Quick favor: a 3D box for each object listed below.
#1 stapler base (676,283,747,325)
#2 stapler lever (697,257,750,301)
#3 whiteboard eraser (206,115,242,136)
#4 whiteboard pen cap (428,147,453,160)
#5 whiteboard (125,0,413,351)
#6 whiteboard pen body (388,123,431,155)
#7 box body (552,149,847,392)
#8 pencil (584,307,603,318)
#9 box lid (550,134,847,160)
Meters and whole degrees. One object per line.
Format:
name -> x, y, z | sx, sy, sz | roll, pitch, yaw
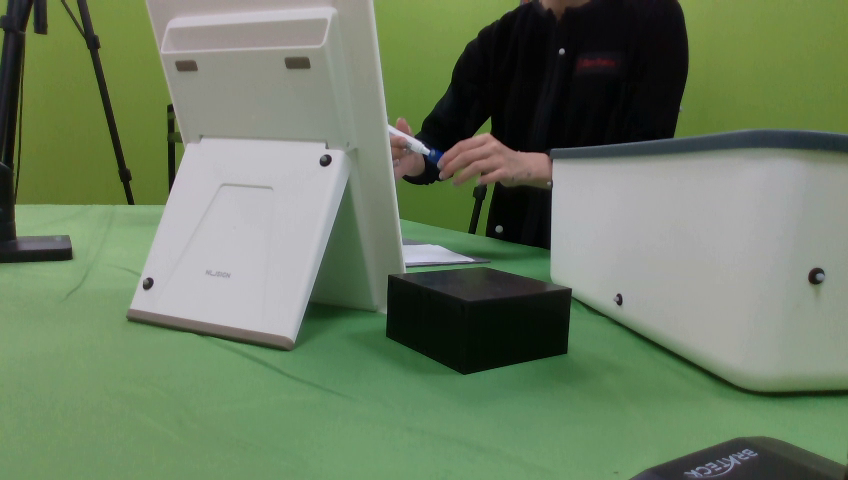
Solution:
stapler base -> 0.283, 0.057, 0.585 | 0.041, 0.024, 0.131 | 29, 17, 34
stapler lever -> 0.290, 0.035, 0.580 | 0.026, 0.040, 0.119 | 29, 19, 34
whiteboard eraser -> -0.438, -0.249, 1.320 | 0.056, 0.042, 0.112 | -3, 9, -30
whiteboard pen cap -> 0.023, -0.118, 0.815 | 0.033, 0.018, 0.018 | 3, 8, 2
whiteboard -> -0.151, -0.050, 0.471 | 0.216, 0.305, 0.144 | 6, 27, 24
whiteboard pen body -> -0.043, -0.146, 0.821 | 0.141, 0.017, 0.017 | 29, 10, 4
box body -> 0.290, 0.002, 0.549 | 0.255, 0.160, 0.363 | 2, 7, -10
pencil -> 0.250, 0.054, 0.656 | 0.195, 0.012, 0.012 | -14, 14, -25
box lid -> 0.294, -0.071, 0.538 | 0.264, 0.015, 0.370 | 2, 6, -10
